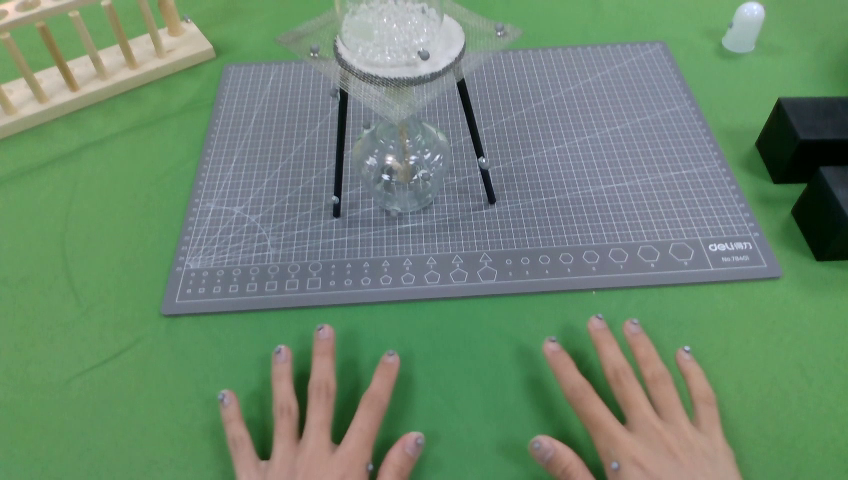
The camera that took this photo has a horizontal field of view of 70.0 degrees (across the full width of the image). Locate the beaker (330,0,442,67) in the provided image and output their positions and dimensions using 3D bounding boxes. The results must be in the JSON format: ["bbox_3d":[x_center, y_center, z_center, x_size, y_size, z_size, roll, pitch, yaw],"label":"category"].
[{"bbox_3d":[-0.027,-0.165,0.369,0.084,0.101,0.073,12,52,10],"label":"beaker"}]

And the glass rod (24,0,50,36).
[{"bbox_3d":[-0.348,-0.221,0.520,0.008,0.201,0.008,2,51,-3],"label":"glass rod"}]

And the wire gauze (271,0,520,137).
[{"bbox_3d":[-0.019,-0.133,0.406,0.124,0.011,0.121,39,63,25],"label":"wire gauze"}]

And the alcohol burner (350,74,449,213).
[{"bbox_3d":[-0.019,-0.076,0.458,0.078,0.120,0.077,0,53,0],"label":"alcohol burner"}]

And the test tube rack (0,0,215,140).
[{"bbox_3d":[-0.336,-0.180,0.572,0.242,0.086,0.066,-29,56,-20],"label":"test tube rack"}]

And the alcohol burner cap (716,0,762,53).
[{"bbox_3d":[0.318,-0.216,0.607,0.034,0.048,0.033,-1,51,1],"label":"alcohol burner cap"}]

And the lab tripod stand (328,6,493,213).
[{"bbox_3d":[-0.013,-0.094,0.459,0.148,0.132,0.147,0,51,0],"label":"lab tripod stand"}]
